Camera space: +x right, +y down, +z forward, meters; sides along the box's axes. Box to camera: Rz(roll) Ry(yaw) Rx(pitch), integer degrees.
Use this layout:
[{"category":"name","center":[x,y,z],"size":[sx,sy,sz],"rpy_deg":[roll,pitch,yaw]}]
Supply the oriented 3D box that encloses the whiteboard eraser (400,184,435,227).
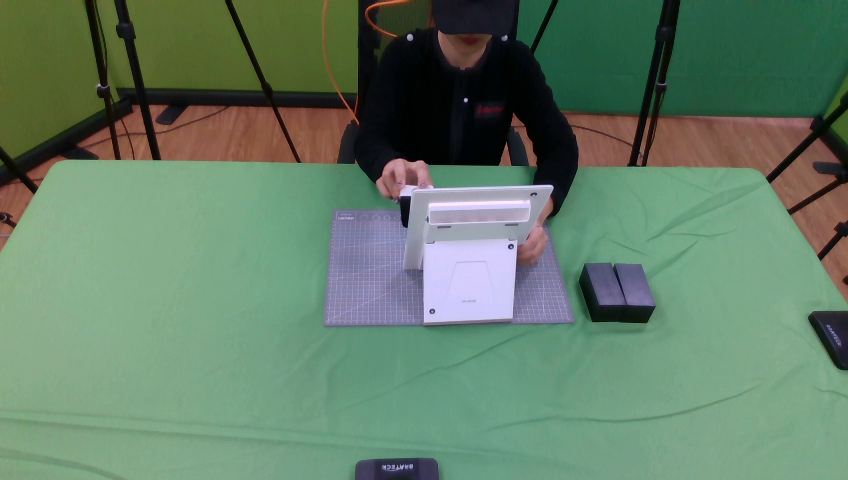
[{"category":"whiteboard eraser","center":[-0.009,-0.050,0.987],"size":[0.055,0.113,0.041],"rpy_deg":[-2,68,-1]}]

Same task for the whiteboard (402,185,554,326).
[{"category":"whiteboard","center":[0.081,0.044,1.005],"size":[0.217,0.306,0.143],"rpy_deg":[-1,66,-6]}]
